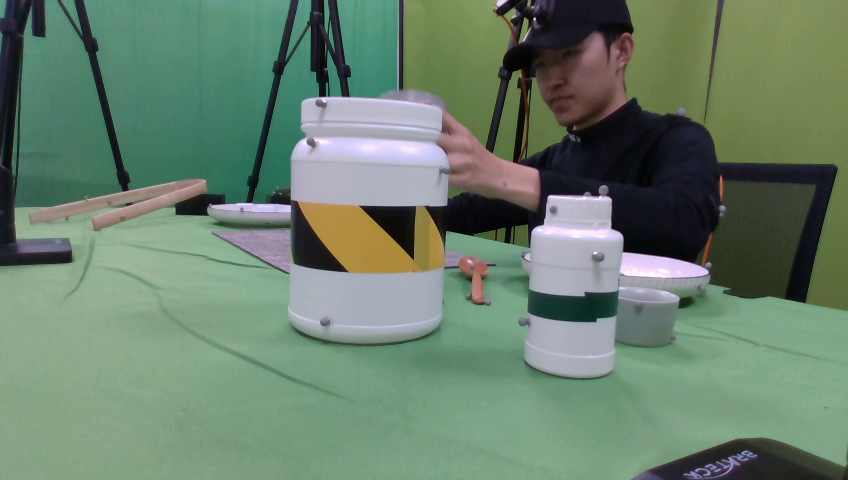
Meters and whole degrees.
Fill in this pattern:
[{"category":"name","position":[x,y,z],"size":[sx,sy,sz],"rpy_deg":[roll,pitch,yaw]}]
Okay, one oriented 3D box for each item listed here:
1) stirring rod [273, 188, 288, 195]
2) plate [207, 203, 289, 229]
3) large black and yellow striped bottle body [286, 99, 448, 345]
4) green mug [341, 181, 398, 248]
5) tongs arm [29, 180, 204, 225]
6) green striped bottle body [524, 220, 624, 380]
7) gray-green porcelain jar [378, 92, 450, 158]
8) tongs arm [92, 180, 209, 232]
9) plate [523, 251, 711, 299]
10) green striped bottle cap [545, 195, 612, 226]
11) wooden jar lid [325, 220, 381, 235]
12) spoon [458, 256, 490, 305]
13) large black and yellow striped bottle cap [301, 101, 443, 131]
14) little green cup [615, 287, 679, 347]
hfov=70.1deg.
[{"category":"stirring rod","position":[-0.353,-0.122,1.518],"size":[0.006,0.014,0.176],"rpy_deg":[1,6,1]},{"category":"plate","position":[-0.342,-0.050,1.259],"size":[0.208,0.039,0.207],"rpy_deg":[2,7,0]},{"category":"large black and yellow striped bottle body","position":[-0.047,-0.018,0.501],"size":[0.131,0.184,0.130],"rpy_deg":[2,7,0]},{"category":"green mug","position":[-0.089,-0.044,0.997],"size":[0.093,0.105,0.125],"rpy_deg":[1,7,-8]},{"category":"tongs arm","position":[-0.609,-0.083,1.245],"size":[0.050,0.026,0.386],"rpy_deg":[5,16,23]},{"category":"green striped bottle body","position":[0.104,0.031,0.422],"size":[0.063,0.119,0.063],"rpy_deg":[2,8,0]},{"category":"gray-green porcelain jar","position":[-0.019,-0.129,0.852],"size":[0.106,0.126,0.106],"rpy_deg":[3,-9,1]},{"category":"tongs arm","position":[-0.534,-0.076,1.221],"size":[0.028,0.028,0.388],"rpy_deg":[-2,15,12]},{"category":"plate","position":[0.219,0.041,0.706],"size":[0.209,0.038,0.209],"rpy_deg":[2,7,0]},{"category":"green striped bottle cap","position":[0.106,-0.020,0.414],"size":[0.044,0.020,0.044],"rpy_deg":[2,4,0]},{"category":"wooden jar lid","position":[-0.136,-0.025,1.162],"size":[0.108,0.020,0.108],"rpy_deg":[3,8,0]},{"category":"spoon","position":[0.059,0.044,0.696],"size":[0.041,0.021,0.194],"rpy_deg":[19,7,1]},{"category":"large black and yellow striped bottle cap","position":[-0.042,-0.100,0.491],"size":[0.115,0.019,0.115],"rpy_deg":[1,8,0]},{"category":"little green cup","position":[0.180,0.064,0.506],"size":[0.061,0.038,0.061],"rpy_deg":[2,8,0]}]
